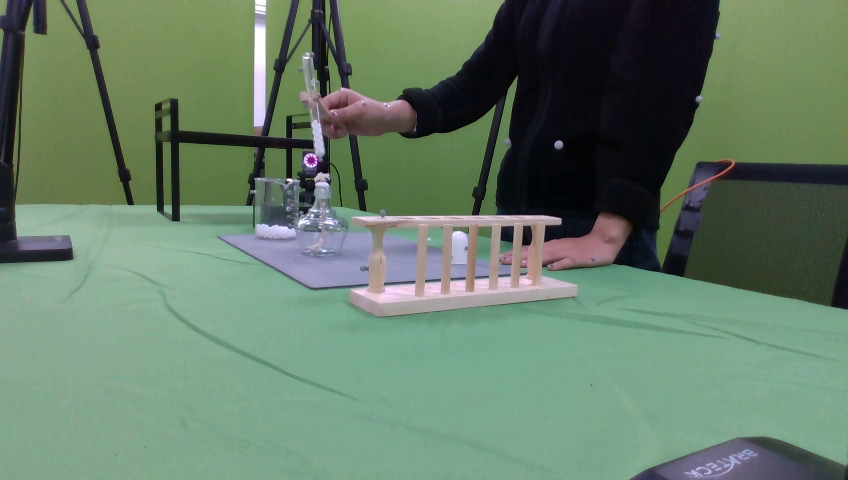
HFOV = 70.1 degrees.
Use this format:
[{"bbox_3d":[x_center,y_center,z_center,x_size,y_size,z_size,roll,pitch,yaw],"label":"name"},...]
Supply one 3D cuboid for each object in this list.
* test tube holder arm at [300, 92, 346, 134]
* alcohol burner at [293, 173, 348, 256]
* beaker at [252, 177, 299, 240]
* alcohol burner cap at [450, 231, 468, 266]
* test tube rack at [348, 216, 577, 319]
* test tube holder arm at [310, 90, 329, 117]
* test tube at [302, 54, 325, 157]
[{"bbox_3d":[-0.151,-0.192,0.926,0.013,0.015,0.179,-8,-6,9],"label":"test tube holder arm"},{"bbox_3d":[-0.146,-0.036,0.859,0.078,0.119,0.078,4,8,0],"label":"alcohol burner"},{"bbox_3d":[-0.245,-0.052,1.005,0.074,0.100,0.083,-3,10,-32],"label":"beaker"},{"bbox_3d":[0.046,0.012,0.839,0.034,0.048,0.034,3,6,0],"label":"alcohol burner cap"},{"bbox_3d":[0.048,0.021,0.619,0.244,0.085,0.066,-2,9,-31],"label":"test tube rack"},{"bbox_3d":[-0.151,-0.197,0.881,0.010,0.015,0.088,-8,-6,2],"label":"test tube holder arm"},{"bbox_3d":[-0.157,-0.191,0.858,0.017,0.150,0.017,-8,-5,0],"label":"test tube"}]
